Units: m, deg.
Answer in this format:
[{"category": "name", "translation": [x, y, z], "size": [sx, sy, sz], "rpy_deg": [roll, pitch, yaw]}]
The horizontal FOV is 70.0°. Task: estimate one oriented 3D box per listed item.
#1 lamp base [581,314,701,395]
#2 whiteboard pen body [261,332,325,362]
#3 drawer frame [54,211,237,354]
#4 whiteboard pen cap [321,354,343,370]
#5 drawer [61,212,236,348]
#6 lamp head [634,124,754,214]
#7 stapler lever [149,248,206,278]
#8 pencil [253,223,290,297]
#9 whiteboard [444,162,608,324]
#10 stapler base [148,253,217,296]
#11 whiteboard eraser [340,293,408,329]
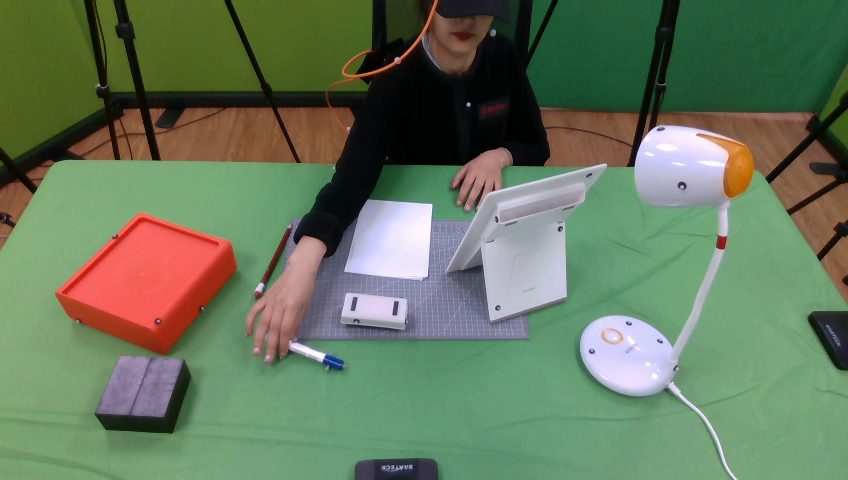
[{"category": "lamp base", "translation": [0.361, 0.145, 0.972], "size": [0.178, 0.181, 0.160], "rpy_deg": [34, 53, 23]}, {"category": "whiteboard pen body", "translation": [-0.206, 0.181, 1.006], "size": [0.140, 0.017, 0.017], "rpy_deg": [19, 48, 8]}, {"category": "drawer frame", "translation": [-0.473, 0.067, 1.055], "size": [0.201, 0.083, 0.212], "rpy_deg": [17, 48, 11]}, {"category": "whiteboard pen cap", "translation": [-0.151, 0.200, 0.995], "size": [0.033, 0.018, 0.018], "rpy_deg": [20, 48, 11]}, {"category": "drawer", "translation": [-0.473, 0.064, 1.059], "size": [0.194, 0.073, 0.211], "rpy_deg": [18, 48, 12]}, {"category": "lamp head", "translation": [0.351, -0.089, 0.775], "size": [0.112, 0.113, 0.122], "rpy_deg": [-30, 30, -28]}, {"category": "stapler lever", "translation": [-0.443, 0.037, 1.084], "size": [0.118, 0.040, 0.027], "rpy_deg": [19, 49, 17]}, {"category": "pencil", "translation": [-0.286, 0.034, 1.150], "size": [0.012, 0.012, 0.193], "rpy_deg": [9, 46, 5]}, {"category": "whiteboard", "translation": [0.186, 0.026, 1.028], "size": [0.217, 0.306, 0.143], "rpy_deg": [-14, 68, -18]}, {"category": "stapler base", "translation": [-0.443, 0.059, 1.109], "size": [0.130, 0.024, 0.041], "rpy_deg": [24, 50, 11]}, {"category": "whiteboard eraser", "translation": [-0.087, 0.125, 1.052], "size": [0.113, 0.042, 0.055], "rpy_deg": [5, 45, 1]}]
